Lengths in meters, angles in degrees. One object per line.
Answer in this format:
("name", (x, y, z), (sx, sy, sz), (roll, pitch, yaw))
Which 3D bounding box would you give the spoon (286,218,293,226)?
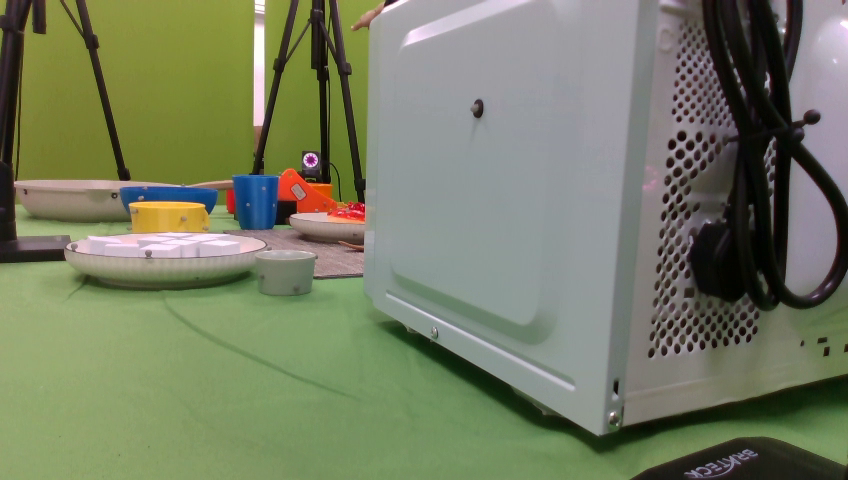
("spoon", (-0.180, -0.036, 1.209), (0.195, 0.021, 0.041), (-3, -11, -31))

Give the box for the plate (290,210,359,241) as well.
("plate", (-0.127, -0.025, 1.051), (0.209, 0.038, 0.209), (2, 7, 0))

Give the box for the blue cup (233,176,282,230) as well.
("blue cup", (-0.314, -0.071, 1.141), (0.093, 0.100, 0.092), (0, 7, 0))

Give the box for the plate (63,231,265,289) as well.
("plate", (-0.288, 0.021, 0.687), (0.208, 0.039, 0.207), (2, 8, 0))

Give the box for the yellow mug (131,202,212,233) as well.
("yellow mug", (-0.356, -0.020, 0.878), (0.099, 0.064, 0.131), (5, 7, 22))

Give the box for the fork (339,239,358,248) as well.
("fork", (-0.027, 0.003, 0.925), (0.208, 0.018, 0.028), (-2, -2, -19))

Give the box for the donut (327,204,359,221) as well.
("donut", (-0.120, -0.037, 1.056), (0.099, 0.048, 0.099), (5, 6, 0))

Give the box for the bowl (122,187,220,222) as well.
("bowl", (-0.421, -0.046, 1.012), (0.151, 0.077, 0.151), (2, 8, 0))

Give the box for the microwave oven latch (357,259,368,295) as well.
("microwave oven latch", (-0.019, 0.031, 0.529), (0.079, 0.029, 0.030), (-1, 7, -26))

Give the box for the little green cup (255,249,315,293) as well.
("little green cup", (-0.144, 0.032, 0.627), (0.061, 0.038, 0.061), (2, 5, 0))

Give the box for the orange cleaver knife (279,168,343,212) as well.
("orange cleaver knife", (-0.236, -0.084, 1.332), (0.212, 0.077, 0.012), (31, -10, -31))

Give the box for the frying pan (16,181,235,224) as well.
("frying pan", (-0.554, -0.097, 1.266), (0.490, 0.102, 0.305), (-10, 13, -24))

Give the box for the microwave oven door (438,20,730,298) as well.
("microwave oven door", (0.181, -0.076, 0.618), (0.358, 0.243, 0.039), (-2, 8, -28))

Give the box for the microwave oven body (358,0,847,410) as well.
("microwave oven body", (0.210, -0.051, 0.471), (0.444, 0.260, 0.324), (-1, 7, -28))
